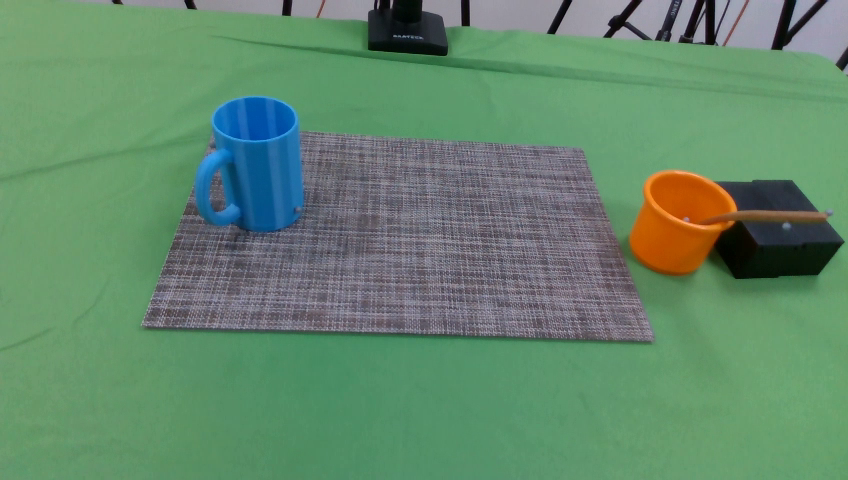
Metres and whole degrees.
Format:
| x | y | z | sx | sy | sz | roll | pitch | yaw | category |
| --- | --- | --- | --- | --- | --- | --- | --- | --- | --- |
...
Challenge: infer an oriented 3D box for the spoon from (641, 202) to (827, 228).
| x | y | z | sx | sy | sz | roll | pitch | yaw | category |
| --- | --- | --- | --- | --- | --- | --- | --- | --- | --- |
| 0.284 | -0.026 | 0.578 | 0.042 | 0.193 | 0.021 | -15 | 93 | -23 | spoon |

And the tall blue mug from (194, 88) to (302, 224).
| x | y | z | sx | sy | sz | roll | pitch | yaw | category |
| --- | --- | --- | --- | --- | --- | --- | --- | --- | --- |
| -0.162 | -0.069 | 0.577 | 0.078 | 0.109 | 0.106 | 9 | 44 | 0 | tall blue mug |
